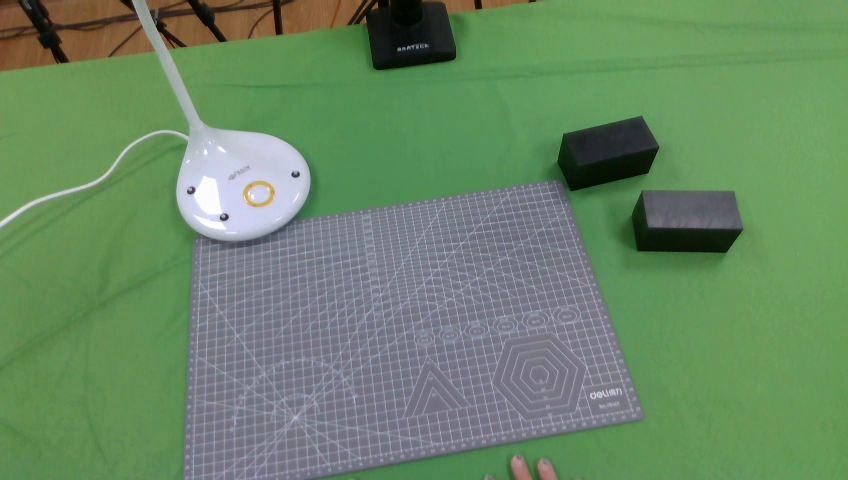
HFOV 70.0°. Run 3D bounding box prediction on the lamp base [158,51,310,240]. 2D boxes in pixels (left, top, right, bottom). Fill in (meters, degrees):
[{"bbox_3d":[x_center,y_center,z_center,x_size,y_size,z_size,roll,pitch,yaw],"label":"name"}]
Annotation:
[{"bbox_3d":[-0.234,-0.116,0.685,0.178,0.182,0.160,31,63,23],"label":"lamp base"}]
